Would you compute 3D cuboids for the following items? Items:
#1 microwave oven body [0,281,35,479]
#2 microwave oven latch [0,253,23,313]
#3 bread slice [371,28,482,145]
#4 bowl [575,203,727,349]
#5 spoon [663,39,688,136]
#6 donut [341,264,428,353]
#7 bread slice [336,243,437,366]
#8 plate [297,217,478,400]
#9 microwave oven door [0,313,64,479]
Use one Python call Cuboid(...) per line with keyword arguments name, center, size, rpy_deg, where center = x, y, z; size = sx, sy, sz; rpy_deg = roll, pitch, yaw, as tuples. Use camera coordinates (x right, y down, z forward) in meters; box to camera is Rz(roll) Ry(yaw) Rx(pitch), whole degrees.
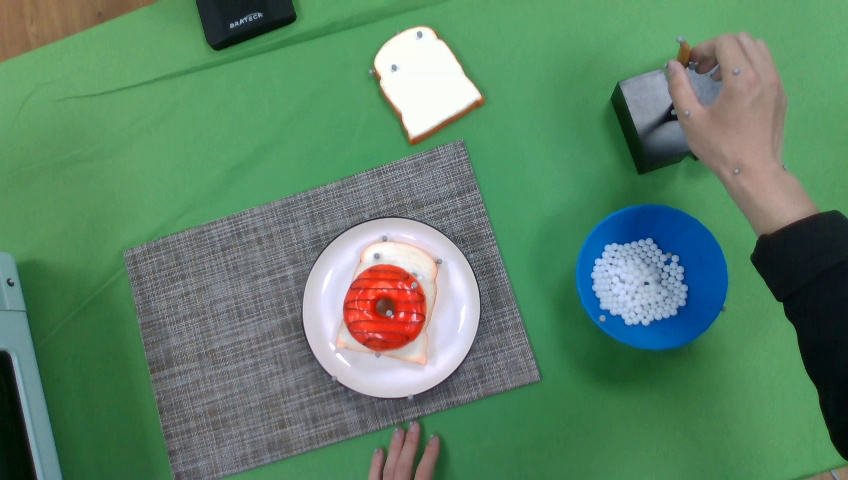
Cuboid(name="microwave oven body", center=(-0.618, 0.254, 0.632), size=(0.326, 0.261, 0.440), rpy_deg=(-20, 81, 3))
Cuboid(name="microwave oven latch", center=(-0.523, 0.055, 0.747), size=(0.030, 0.029, 0.079), rpy_deg=(-19, 81, 3))
Cuboid(name="bread slice", center=(-0.007, -0.196, 0.749), size=(0.105, 0.019, 0.131), rpy_deg=(-32, 81, 0))
Cuboid(name="bowl", center=(0.235, 0.041, 0.655), size=(0.151, 0.077, 0.151), rpy_deg=(-1, 81, 7))
Cuboid(name="spoon", center=(0.257, -0.151, 0.620), size=(0.021, 0.195, 0.041), rpy_deg=(-22, 73, 17))
Cuboid(name="donut", center=(-0.043, 0.076, 0.672), size=(0.099, 0.048, 0.098), rpy_deg=(-1, 82, 8))
Cuboid(name="bread slice", center=(-0.040, 0.071, 0.701), size=(0.107, 0.018, 0.134), rpy_deg=(7, 83, 8))
Cuboid(name="plate", center=(-0.041, 0.078, 0.699), size=(0.207, 0.039, 0.207), rpy_deg=(-1, 82, 7))
Cuboid(name="microwave oven door", center=(-0.468, 0.243, 0.610), size=(0.039, 0.245, 0.354), rpy_deg=(-20, 80, 4))
